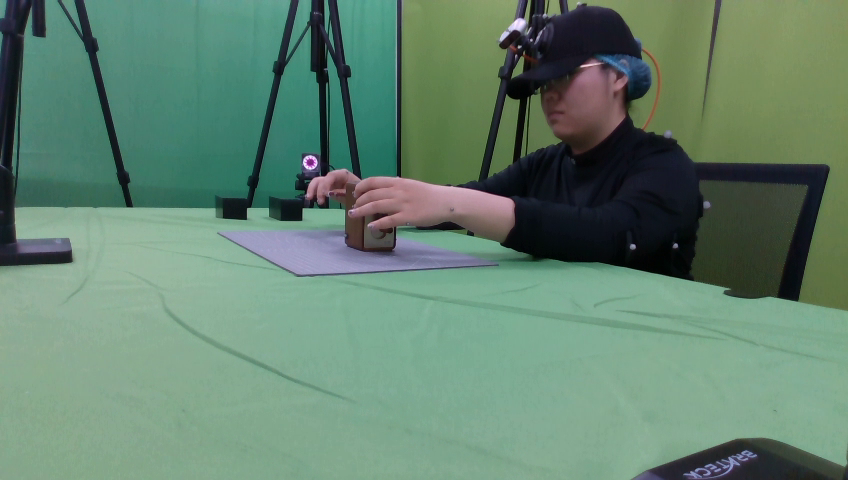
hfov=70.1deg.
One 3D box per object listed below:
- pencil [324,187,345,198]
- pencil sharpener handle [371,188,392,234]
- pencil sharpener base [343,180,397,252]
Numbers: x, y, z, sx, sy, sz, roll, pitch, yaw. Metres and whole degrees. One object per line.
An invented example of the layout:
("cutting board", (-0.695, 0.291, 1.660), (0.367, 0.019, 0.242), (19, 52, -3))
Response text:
("pencil", (-0.141, -0.077, 1.048), (0.012, 0.012, 0.193), (-1, 10, -26))
("pencil sharpener handle", (-0.058, -0.044, 0.913), (0.036, 0.067, 0.030), (-1, 9, -31))
("pencil sharpener base", (-0.085, -0.039, 0.957), (0.062, 0.107, 0.076), (-1, 9, -31))
